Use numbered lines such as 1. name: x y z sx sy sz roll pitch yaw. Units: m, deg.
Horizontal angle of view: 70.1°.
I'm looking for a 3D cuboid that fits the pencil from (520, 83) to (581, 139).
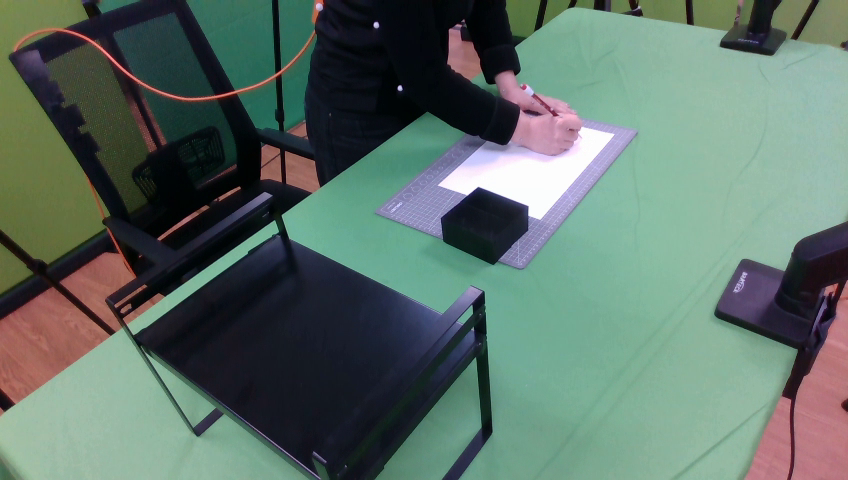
1. pencil: 0.237 -0.233 1.110 0.012 0.196 0.012 -26 50 36
